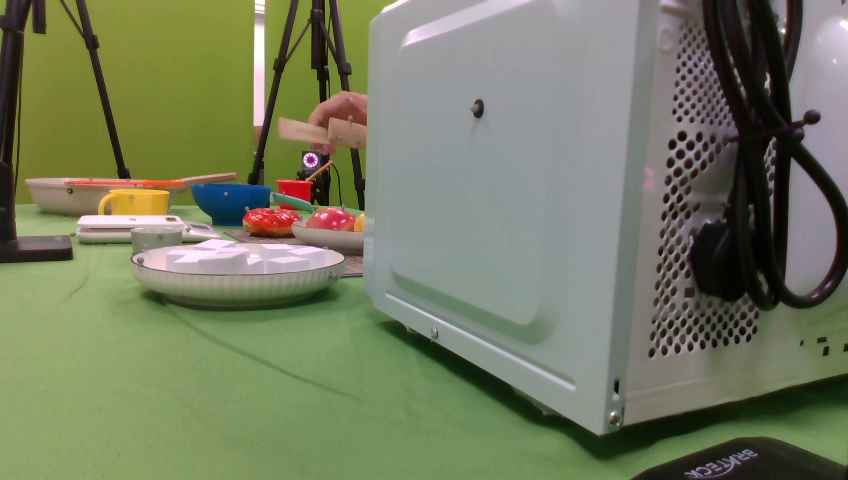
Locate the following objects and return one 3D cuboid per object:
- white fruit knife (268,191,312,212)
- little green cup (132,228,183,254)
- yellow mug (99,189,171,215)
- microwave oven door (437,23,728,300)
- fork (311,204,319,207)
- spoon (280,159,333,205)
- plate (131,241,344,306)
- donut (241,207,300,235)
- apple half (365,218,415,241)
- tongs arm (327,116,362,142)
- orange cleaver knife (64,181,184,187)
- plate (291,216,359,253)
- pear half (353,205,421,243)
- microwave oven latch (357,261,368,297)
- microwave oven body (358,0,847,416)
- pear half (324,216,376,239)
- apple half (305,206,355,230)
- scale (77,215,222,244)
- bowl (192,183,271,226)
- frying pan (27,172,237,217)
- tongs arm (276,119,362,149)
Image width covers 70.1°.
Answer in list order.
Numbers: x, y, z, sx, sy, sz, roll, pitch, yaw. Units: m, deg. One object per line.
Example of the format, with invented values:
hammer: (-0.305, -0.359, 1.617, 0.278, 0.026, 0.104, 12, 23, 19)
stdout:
white fruit knife: (-0.364, -0.105, 1.464, 0.208, 0.027, 0.016, 15, -1, -34)
little green cup: (-0.342, 0.006, 0.779, 0.061, 0.038, 0.061, 2, 8, 0)
yellow mug: (-0.519, -0.055, 1.080, 0.099, 0.064, 0.131, 7, 9, 26)
microwave oven door: (0.180, -0.072, 0.621, 0.358, 0.243, 0.039, -2, 8, -29)
fork: (-0.356, -0.105, 1.526, 0.208, 0.018, 0.028, 16, -6, -41)
spoon: (-0.317, -0.159, 1.640, 0.194, 0.022, 0.041, -49, 32, -20)
plate: (-0.187, 0.033, 0.625, 0.208, 0.039, 0.207, 2, 8, 0)
donut: (-0.263, -0.031, 1.039, 0.099, 0.048, 0.099, 5, 9, 0)
apple half: (-0.053, -0.019, 0.966, 0.081, 0.033, 0.081, -4, 11, 1)
tongs arm: (-0.096, -0.155, 0.901, 0.050, 0.026, 0.385, -2, 6, 12)
orange cleaver knife: (-0.596, -0.113, 1.212, 0.212, 0.012, 0.077, -3, 7, -41)
plate: (-0.102, -0.009, 0.945, 0.209, 0.038, 0.209, 2, 8, 0)
pear half: (-0.051, -0.024, 0.905, 0.110, 0.056, 0.076, 1, -2, -38)
microwave oven latch: (-0.020, 0.033, 0.531, 0.079, 0.029, 0.030, -1, 7, -27)
microwave oven body: (0.211, -0.047, 0.475, 0.444, 0.260, 0.324, -1, 7, -28)
pear half: (-0.119, -0.023, 0.996, 0.088, 0.031, 0.070, -4, 23, -29)
apple half: (-0.138, -0.024, 0.916, 0.081, 0.053, 0.074, 0, 10, -43)
scale: (-0.434, -0.019, 0.963, 0.202, 0.031, 0.148, -1, 9, -27)
bowl: (-0.382, -0.071, 1.202, 0.151, 0.077, 0.151, 3, 7, 0)
frying pan: (-0.624, -0.118, 1.387, 0.305, 0.102, 0.490, 8, 17, 32)
tongs arm: (-0.133, -0.155, 0.907, 0.028, 0.028, 0.388, -6, 6, 12)
